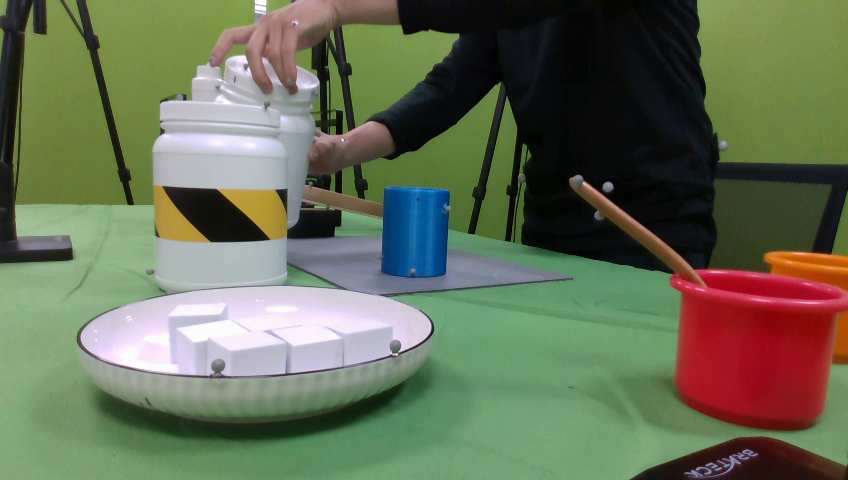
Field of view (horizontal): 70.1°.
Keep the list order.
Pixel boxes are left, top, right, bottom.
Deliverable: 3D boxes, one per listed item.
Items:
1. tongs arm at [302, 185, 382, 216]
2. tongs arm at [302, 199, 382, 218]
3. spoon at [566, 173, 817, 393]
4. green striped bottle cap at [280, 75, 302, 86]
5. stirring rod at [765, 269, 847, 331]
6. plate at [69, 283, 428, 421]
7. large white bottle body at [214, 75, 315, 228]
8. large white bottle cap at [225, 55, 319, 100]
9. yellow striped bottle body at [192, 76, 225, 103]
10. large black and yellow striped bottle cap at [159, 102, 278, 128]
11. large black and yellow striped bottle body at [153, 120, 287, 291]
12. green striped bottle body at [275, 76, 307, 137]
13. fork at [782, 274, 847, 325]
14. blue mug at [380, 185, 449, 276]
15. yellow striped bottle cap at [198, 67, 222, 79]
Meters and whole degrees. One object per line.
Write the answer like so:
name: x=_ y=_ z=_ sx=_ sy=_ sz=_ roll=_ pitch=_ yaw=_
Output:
tongs arm: x=-0.122 y=-0.066 z=1.147 sx=0.387 sy=0.026 sz=0.050 roll=11 pitch=-2 yaw=-37
tongs arm: x=-0.164 y=-0.074 z=1.216 sx=0.389 sy=0.027 sz=0.028 roll=11 pitch=-6 yaw=-24
spoon: x=0.161 y=0.024 z=0.370 sx=0.193 sy=0.021 sz=0.042 roll=47 pitch=18 yaw=3
green striped bottle cap: x=-0.267 y=-0.320 z=1.216 sx=0.044 sy=0.020 sz=0.044 roll=3 pitch=9 yaw=0
stirring rod: x=0.351 y=0.019 z=0.483 sx=0.176 sy=0.006 sz=0.014 roll=-39 pitch=-6 yaw=12
plate: x=-0.102 y=0.066 z=0.381 sx=0.208 sy=0.039 sz=0.207 roll=2 pitch=7 yaw=0
large white bottle body: x=-0.217 y=-0.117 z=0.797 sx=0.131 sy=0.184 sz=0.130 roll=13 pitch=19 yaw=-4
large white bottle cap: x=-0.189 y=-0.205 z=0.760 sx=0.115 sy=0.018 sz=0.114 roll=14 pitch=27 yaw=-7
yellow striped bottle body: x=-0.414 y=-0.268 z=1.169 sx=0.063 sy=0.120 sz=0.063 roll=2 pitch=7 yaw=0
large black and yellow striped bottle cap: x=-0.207 y=-0.125 z=0.615 sx=0.115 sy=0.019 sz=0.115 roll=2 pitch=6 yaw=0
large black and yellow striped bottle body: x=-0.208 y=-0.042 z=0.626 sx=0.131 sy=0.184 sz=0.130 roll=2 pitch=7 yaw=0
green striped bottle body: x=-0.269 y=-0.269 z=1.221 sx=0.063 sy=0.119 sz=0.063 roll=2 pitch=7 yaw=0
fork: x=0.332 y=0.018 z=0.443 sx=0.028 sy=0.018 sz=0.207 roll=-1 pitch=-36 yaw=-15
blue mug: x=-0.018 y=-0.016 z=0.764 sx=0.083 sy=0.106 sz=0.116 roll=-1 pitch=8 yaw=-25
yellow striped bottle cap: x=-0.412 y=-0.320 z=1.163 sx=0.044 sy=0.018 sz=0.044 roll=0 pitch=6 yaw=0
